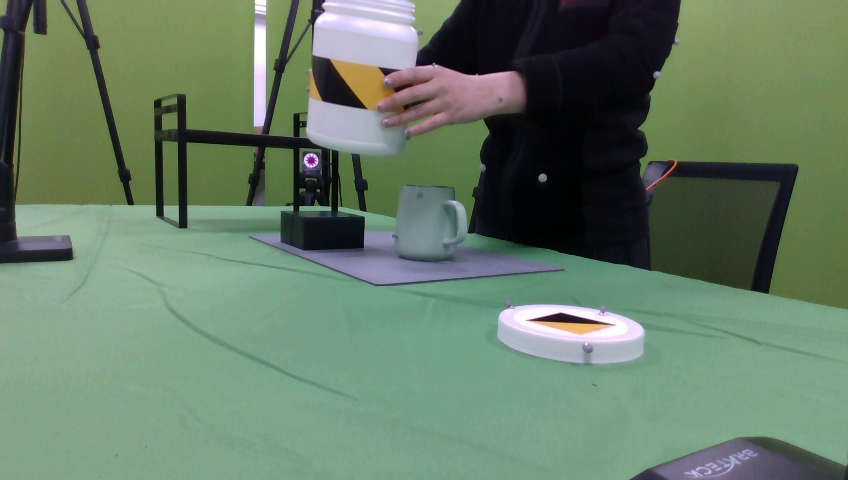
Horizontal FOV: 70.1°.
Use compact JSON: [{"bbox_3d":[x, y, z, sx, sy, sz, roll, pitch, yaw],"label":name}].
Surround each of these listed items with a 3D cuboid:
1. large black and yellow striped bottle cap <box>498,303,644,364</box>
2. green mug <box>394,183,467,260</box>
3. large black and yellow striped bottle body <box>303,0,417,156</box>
[{"bbox_3d":[0.117,0.072,0.486,0.115,0.019,0.115,1,8,0],"label":"large black and yellow striped bottle cap"},{"bbox_3d":[0.015,-0.026,0.857,0.093,0.105,0.124,-3,9,-40],"label":"green mug"},{"bbox_3d":[-0.079,-0.208,0.757,0.131,0.184,0.130,7,18,-2],"label":"large black and yellow striped bottle body"}]
